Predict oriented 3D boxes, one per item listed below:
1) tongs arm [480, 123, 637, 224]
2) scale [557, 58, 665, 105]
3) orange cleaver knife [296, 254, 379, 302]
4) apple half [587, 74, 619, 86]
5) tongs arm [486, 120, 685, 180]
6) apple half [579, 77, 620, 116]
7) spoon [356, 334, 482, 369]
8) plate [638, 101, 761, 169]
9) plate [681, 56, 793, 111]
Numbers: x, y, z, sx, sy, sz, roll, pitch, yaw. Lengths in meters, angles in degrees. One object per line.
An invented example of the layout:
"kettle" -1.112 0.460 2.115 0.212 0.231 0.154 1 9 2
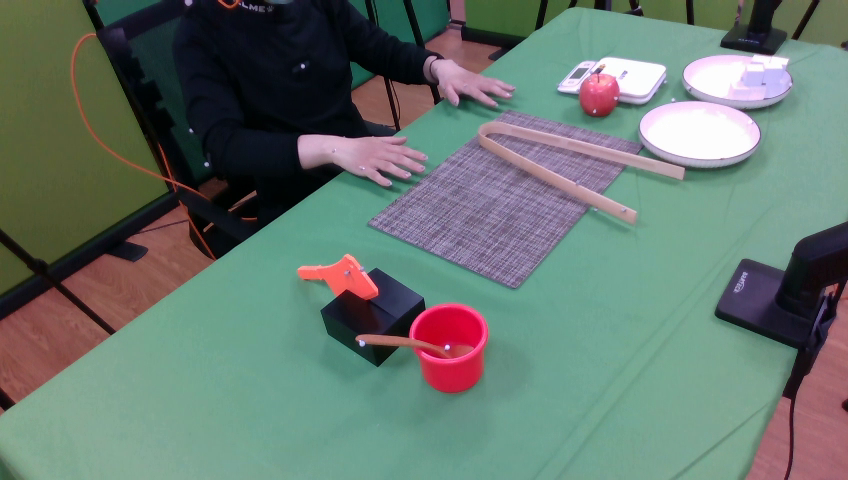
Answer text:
"tongs arm" 0.228 -0.128 1.080 0.051 0.026 0.381 -33 46 -26
"scale" 0.407 -0.348 1.314 0.199 0.032 0.149 19 47 28
"orange cleaver knife" -0.129 0.059 0.874 0.012 0.077 0.210 -39 16 -30
"apple half" 0.366 -0.310 1.243 0.081 0.081 0.033 15 49 24
"tongs arm" 0.287 -0.171 1.123 0.384 0.028 0.028 21 52 29
"apple half" 0.348 -0.285 1.218 0.080 0.075 0.053 17 49 22
"spoon" -0.001 0.130 0.731 0.195 0.021 0.041 21 28 -39
"plate" 0.500 -0.189 1.111 0.209 0.038 0.208 -4 41 4
"plate" 0.636 -0.317 1.239 0.207 0.039 0.206 -4 40 4
